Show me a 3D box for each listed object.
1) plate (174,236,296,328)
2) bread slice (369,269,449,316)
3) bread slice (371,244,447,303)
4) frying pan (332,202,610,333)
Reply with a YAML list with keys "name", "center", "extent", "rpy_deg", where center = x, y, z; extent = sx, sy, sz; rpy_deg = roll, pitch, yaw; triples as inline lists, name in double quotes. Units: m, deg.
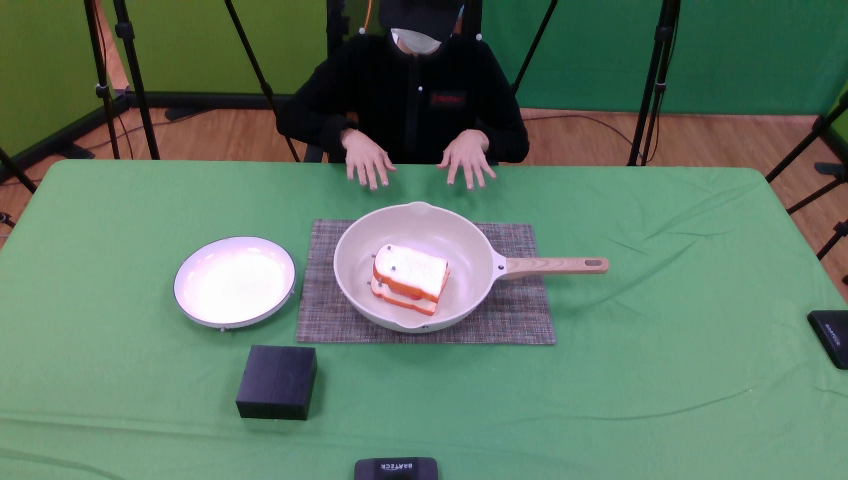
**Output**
- name: "plate"
  center: [-0.335, 0.077, 1.087]
  extent: [0.208, 0.039, 0.206]
  rpy_deg: [2, 46, -2]
- name: "bread slice"
  center: [-0.031, 0.082, 1.108]
  extent: [0.134, 0.018, 0.106]
  rpy_deg: [12, 45, 8]
- name: "bread slice"
  center: [-0.028, 0.054, 1.072]
  extent: [0.131, 0.019, 0.104]
  rpy_deg: [19, 39, -3]
- name: "frying pan"
  center: [0.085, 0.052, 1.093]
  extent: [0.488, 0.103, 0.305]
  rpy_deg: [-1, 46, 6]
